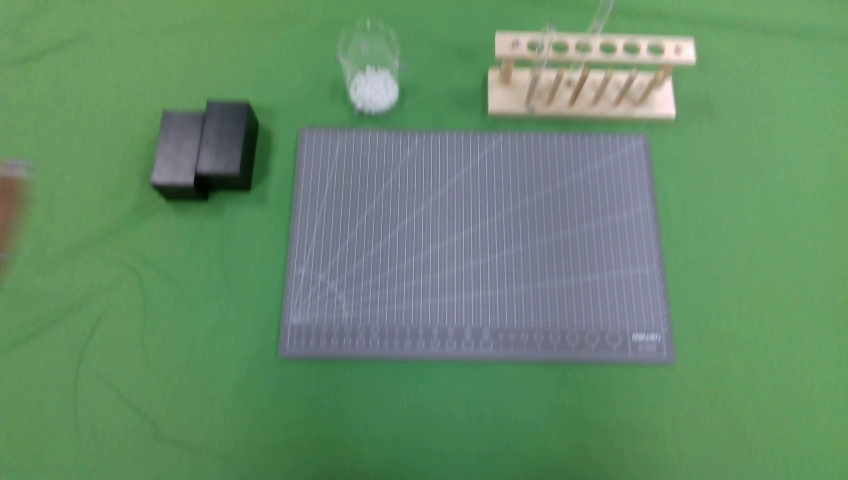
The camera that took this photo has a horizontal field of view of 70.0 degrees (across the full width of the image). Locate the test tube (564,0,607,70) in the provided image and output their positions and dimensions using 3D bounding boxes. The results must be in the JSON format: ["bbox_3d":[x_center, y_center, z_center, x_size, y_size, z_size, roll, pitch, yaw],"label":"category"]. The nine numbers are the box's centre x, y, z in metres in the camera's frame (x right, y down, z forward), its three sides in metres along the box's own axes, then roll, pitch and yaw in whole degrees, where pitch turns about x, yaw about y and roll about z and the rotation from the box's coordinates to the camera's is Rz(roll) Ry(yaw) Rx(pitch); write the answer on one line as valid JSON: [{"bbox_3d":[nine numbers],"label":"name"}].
[{"bbox_3d":[0.193,-0.252,0.720,0.017,0.151,0.017,1,69,-3],"label":"test tube"}]

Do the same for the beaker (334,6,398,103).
[{"bbox_3d":[-0.069,-0.226,0.750,0.074,0.101,0.083,-3,71,-2],"label":"beaker"}]

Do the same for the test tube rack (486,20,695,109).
[{"bbox_3d":[0.203,-0.219,0.762,0.242,0.085,0.066,1,72,-1],"label":"test tube rack"}]

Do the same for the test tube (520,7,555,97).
[{"bbox_3d":[0.132,-0.217,0.712,0.017,0.151,0.017,0,69,0],"label":"test tube"}]
